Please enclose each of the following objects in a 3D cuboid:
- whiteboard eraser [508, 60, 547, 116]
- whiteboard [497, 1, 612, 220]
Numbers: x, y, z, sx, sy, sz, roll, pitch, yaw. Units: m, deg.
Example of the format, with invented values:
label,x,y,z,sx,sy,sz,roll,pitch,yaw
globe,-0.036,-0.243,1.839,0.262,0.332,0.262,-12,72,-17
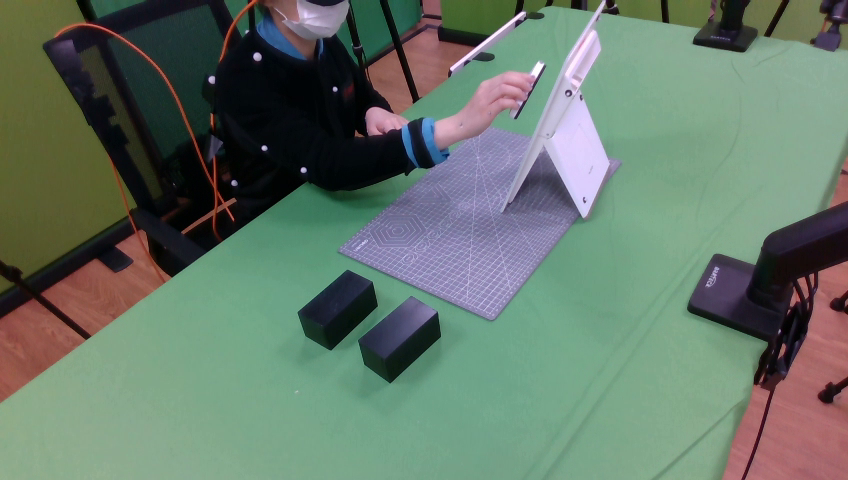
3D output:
label,x,y,z,sx,sy,sz,roll,pitch,yaw
whiteboard eraser,0.164,-0.242,0.963,0.019,0.041,0.101,31,83,3
whiteboard,0.259,-0.177,0.963,0.143,0.306,0.217,28,48,9
